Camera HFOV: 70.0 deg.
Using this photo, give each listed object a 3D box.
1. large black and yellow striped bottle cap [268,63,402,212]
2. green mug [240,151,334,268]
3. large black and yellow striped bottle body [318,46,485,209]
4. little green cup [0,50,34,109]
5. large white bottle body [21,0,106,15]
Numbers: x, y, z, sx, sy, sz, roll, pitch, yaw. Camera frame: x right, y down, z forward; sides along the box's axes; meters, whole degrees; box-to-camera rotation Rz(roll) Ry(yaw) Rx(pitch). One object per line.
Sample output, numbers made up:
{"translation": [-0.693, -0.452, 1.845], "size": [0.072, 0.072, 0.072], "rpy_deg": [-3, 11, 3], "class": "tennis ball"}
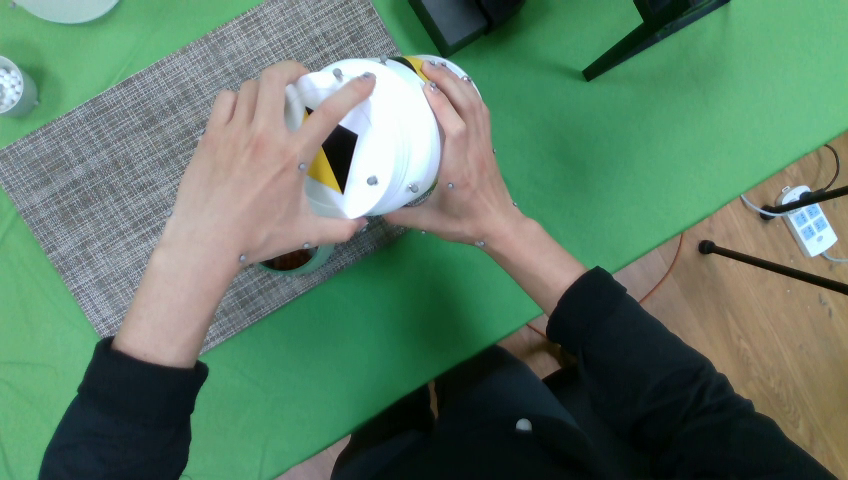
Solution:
{"translation": [-0.071, -0.078, 0.469], "size": [0.114, 0.019, 0.115], "rpy_deg": [9, 112, 24], "class": "large black and yellow striped bottle cap"}
{"translation": [-0.148, -0.031, 0.637], "size": [0.092, 0.105, 0.125], "rpy_deg": [-15, 93, -5], "class": "green mug"}
{"translation": [-0.035, -0.103, 0.543], "size": [0.130, 0.184, 0.131], "rpy_deg": [9, 112, 24], "class": "large black and yellow striped bottle body"}
{"translation": [-0.448, -0.167, 0.637], "size": [0.062, 0.038, 0.061], "rpy_deg": [0, 92, -7], "class": "little green cup"}
{"translation": [-0.381, -0.304, 0.566], "size": [0.131, 0.184, 0.130], "rpy_deg": [0, 92, -5], "class": "large white bottle body"}
